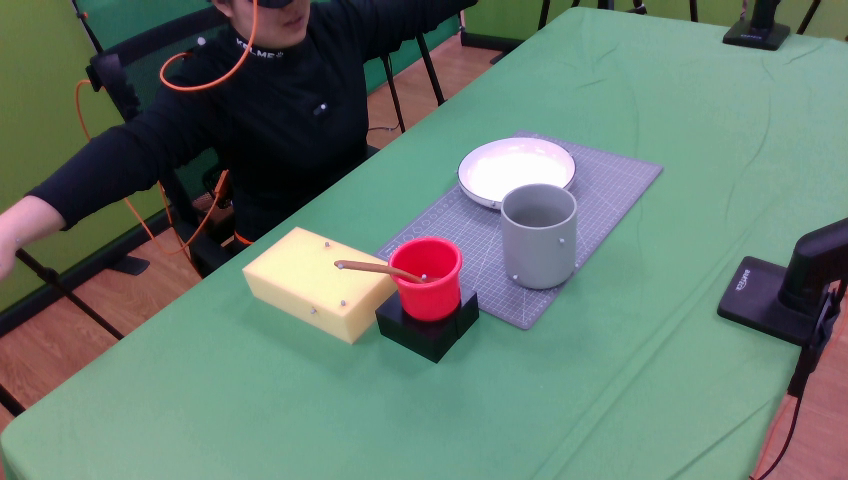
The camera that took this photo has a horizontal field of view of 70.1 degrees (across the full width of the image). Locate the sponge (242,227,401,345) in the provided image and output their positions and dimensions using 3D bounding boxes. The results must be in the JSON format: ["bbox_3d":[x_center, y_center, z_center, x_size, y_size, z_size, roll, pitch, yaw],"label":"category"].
[{"bbox_3d":[-0.154,0.063,0.907,0.205,0.061,0.118,19,48,29],"label":"sponge"}]

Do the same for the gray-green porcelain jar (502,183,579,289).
[{"bbox_3d":[0.166,-0.001,0.866,0.106,0.127,0.105,-5,40,5],"label":"gray-green porcelain jar"}]

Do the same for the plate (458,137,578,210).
[{"bbox_3d":[0.166,-0.113,1.068,0.207,0.039,0.206,-5,40,5],"label":"plate"}]

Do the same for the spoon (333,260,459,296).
[{"bbox_3d":[-0.031,0.045,0.761,0.195,0.021,0.041,19,20,-39],"label":"spoon"}]
